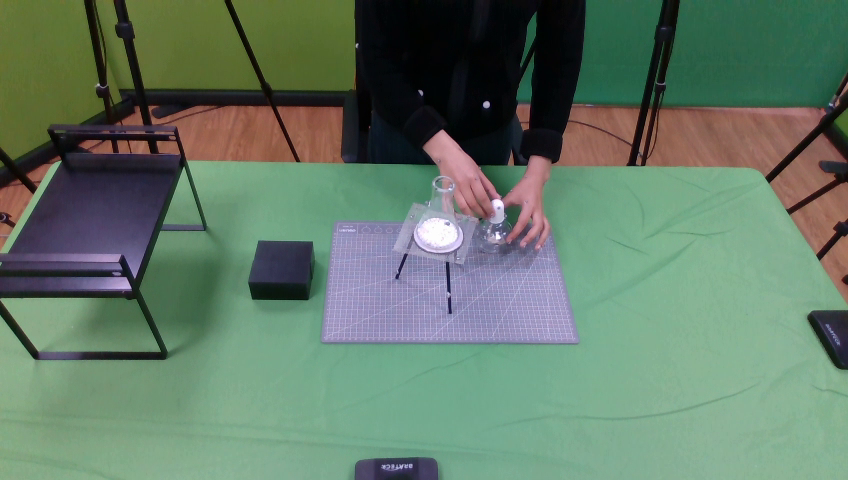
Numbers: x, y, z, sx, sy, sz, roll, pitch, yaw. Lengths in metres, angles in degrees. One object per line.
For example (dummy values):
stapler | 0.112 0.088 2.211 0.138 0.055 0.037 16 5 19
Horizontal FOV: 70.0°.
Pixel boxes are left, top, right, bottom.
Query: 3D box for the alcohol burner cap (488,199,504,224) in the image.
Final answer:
alcohol burner cap | 0.137 -0.057 1.146 0.034 0.048 0.033 -2 47 2

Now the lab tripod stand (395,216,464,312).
lab tripod stand | 0.023 0.037 1.084 0.148 0.132 0.147 4 47 -4

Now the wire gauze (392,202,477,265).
wire gauze | 0.021 -0.011 1.037 0.121 0.011 0.124 13 49 8

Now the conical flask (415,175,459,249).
conical flask | 0.026 -0.049 0.993 0.075 0.122 0.075 3 47 -3

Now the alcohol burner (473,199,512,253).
alcohol burner | 0.135 -0.033 1.173 0.078 0.119 0.077 2 44 -2
